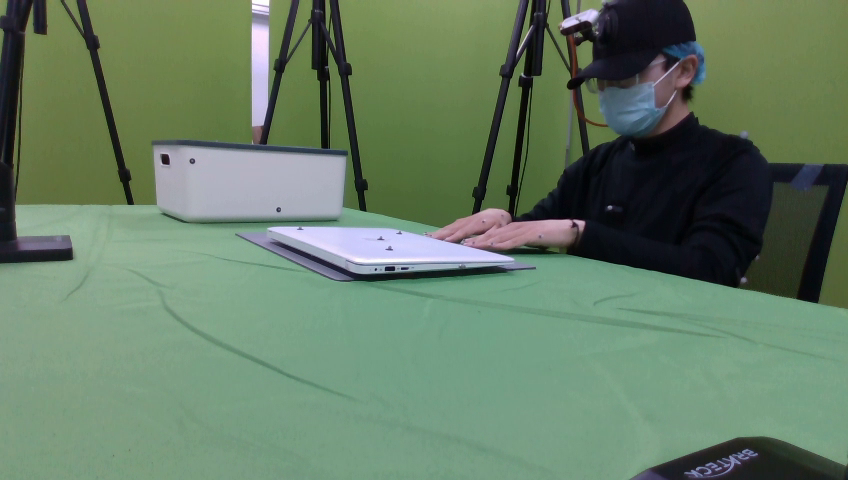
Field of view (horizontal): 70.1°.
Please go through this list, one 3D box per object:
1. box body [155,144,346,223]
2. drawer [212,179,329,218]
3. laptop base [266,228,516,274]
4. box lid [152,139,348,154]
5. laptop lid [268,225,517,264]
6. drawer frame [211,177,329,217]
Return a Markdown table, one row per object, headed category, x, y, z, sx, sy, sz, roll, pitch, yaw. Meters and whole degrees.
| category | x | y | z | sx | sy | sz | roll | pitch | yaw |
| --- | --- | --- | --- | --- | --- | --- | --- | --- | --- |
| box body | -0.384 | -0.131 | 1.346 | 0.366 | 0.160 | 0.253 | -3 | 9 | -36 |
| drawer | -0.348 | -0.097 | 1.365 | 0.213 | 0.073 | 0.193 | 0 | 10 | -32 |
| laptop base | -0.066 | 0.014 | 0.877 | 0.237 | 0.023 | 0.352 | 2 | 6 | -32 |
| box lid | -0.379 | -0.205 | 1.338 | 0.373 | 0.015 | 0.262 | -3 | 10 | -36 |
| laptop lid | -0.063 | 0.002 | 0.877 | 0.243 | 0.013 | 0.355 | 1 | 7 | -30 |
| drawer frame | -0.348 | -0.102 | 1.365 | 0.215 | 0.082 | 0.200 | -5 | 9 | -32 |
